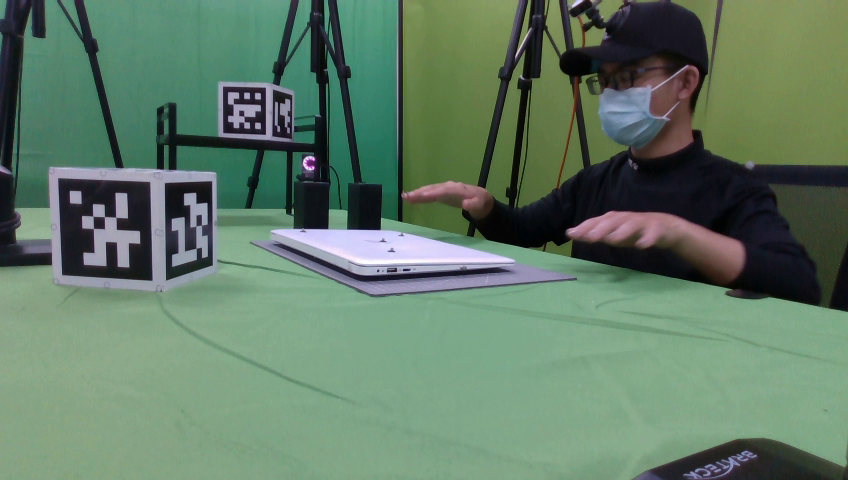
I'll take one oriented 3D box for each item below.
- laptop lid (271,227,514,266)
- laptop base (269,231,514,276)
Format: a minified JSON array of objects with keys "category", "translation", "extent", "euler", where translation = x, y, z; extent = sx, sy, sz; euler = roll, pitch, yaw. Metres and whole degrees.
[{"category":"laptop lid","translation":[-0.063,0.005,0.893],"extent":[0.243,0.013,0.355],"euler":[1,7,-30]},{"category":"laptop base","translation":[-0.066,0.017,0.893],"extent":[0.237,0.023,0.352],"euler":[1,6,-32]}]
